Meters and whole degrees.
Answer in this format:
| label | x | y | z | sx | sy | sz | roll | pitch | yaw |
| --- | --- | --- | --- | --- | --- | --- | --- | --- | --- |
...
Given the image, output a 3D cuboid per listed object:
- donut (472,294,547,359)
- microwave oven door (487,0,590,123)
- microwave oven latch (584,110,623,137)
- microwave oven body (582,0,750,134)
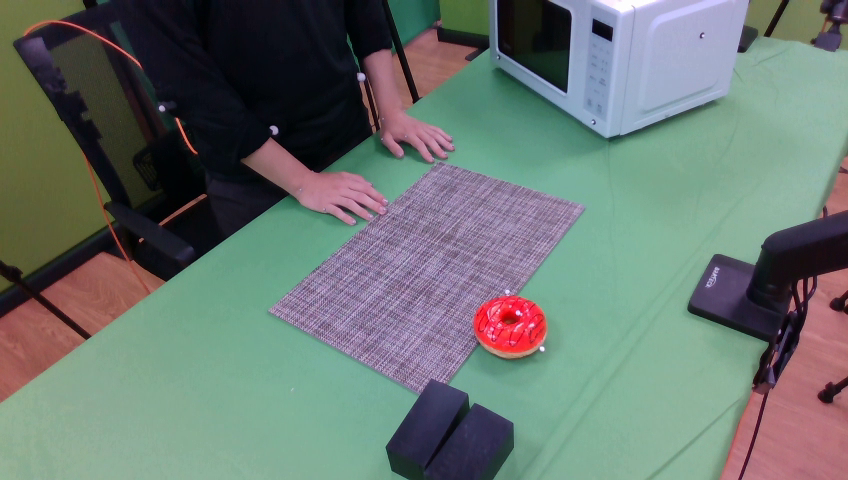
| label | x | y | z | sx | sy | sz | roll | pitch | yaw |
| --- | --- | --- | --- | --- | --- | --- | --- | --- | --- |
| donut | 0.114 | 0.114 | 0.803 | 0.099 | 0.048 | 0.098 | 0 | 40 | 1 |
| microwave oven door | 0.232 | -0.420 | 1.231 | 0.039 | 0.245 | 0.352 | -22 | 43 | -16 |
| microwave oven latch | 0.337 | -0.222 | 1.142 | 0.030 | 0.029 | 0.078 | -21 | 42 | -14 |
| microwave oven body | 0.382 | -0.444 | 1.246 | 0.327 | 0.261 | 0.437 | -22 | 42 | -16 |
